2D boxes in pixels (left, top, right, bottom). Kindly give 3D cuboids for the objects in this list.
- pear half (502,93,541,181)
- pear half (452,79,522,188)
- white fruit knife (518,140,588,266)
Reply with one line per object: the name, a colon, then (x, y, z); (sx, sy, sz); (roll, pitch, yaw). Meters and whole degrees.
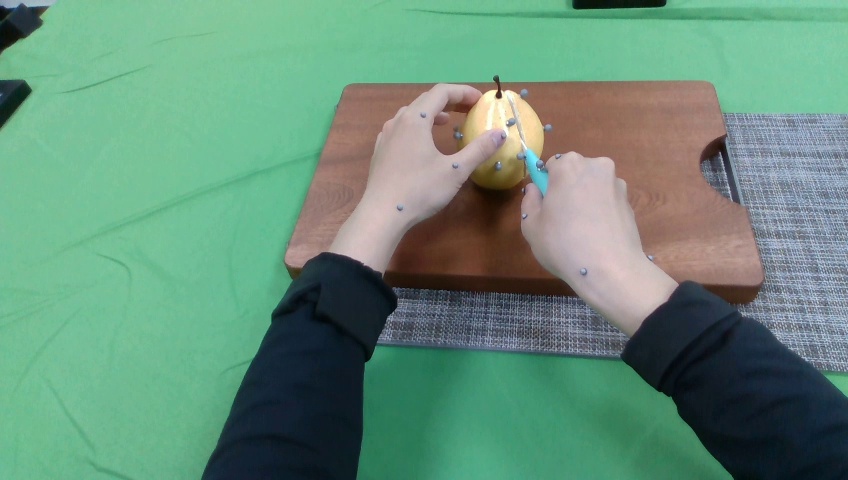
pear half: (0.088, -0.097, 0.550); (0.031, 0.089, 0.069); (-19, 47, -10)
pear half: (0.052, -0.095, 0.538); (0.056, 0.111, 0.075); (-22, 50, -8)
white fruit knife: (0.088, -0.063, 0.510); (0.016, 0.028, 0.205); (-17, 50, -5)
